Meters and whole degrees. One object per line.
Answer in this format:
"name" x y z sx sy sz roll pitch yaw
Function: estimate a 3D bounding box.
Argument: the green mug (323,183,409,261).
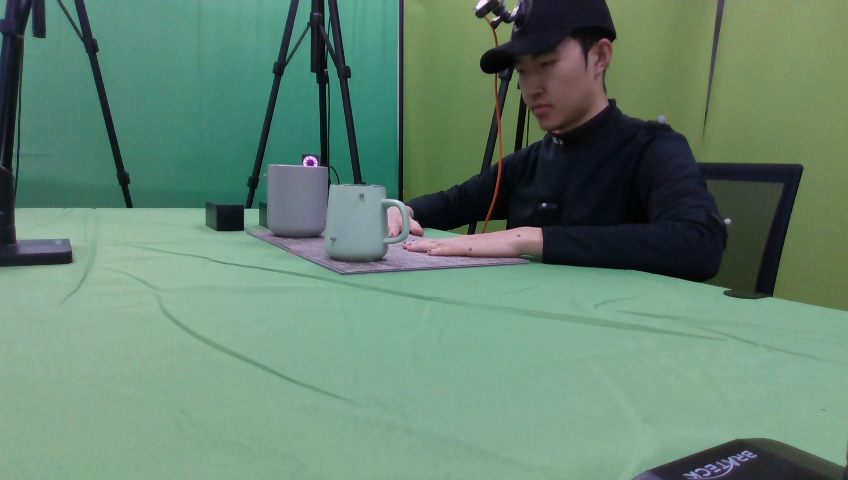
"green mug" -0.080 -0.026 0.851 0.125 0.105 0.093 5 7 20

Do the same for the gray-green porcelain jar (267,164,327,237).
"gray-green porcelain jar" -0.227 -0.072 1.086 0.106 0.126 0.106 2 8 0
